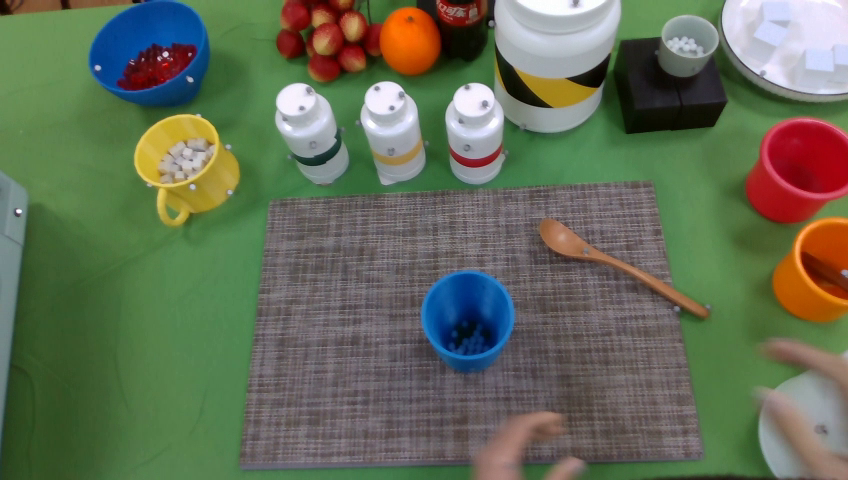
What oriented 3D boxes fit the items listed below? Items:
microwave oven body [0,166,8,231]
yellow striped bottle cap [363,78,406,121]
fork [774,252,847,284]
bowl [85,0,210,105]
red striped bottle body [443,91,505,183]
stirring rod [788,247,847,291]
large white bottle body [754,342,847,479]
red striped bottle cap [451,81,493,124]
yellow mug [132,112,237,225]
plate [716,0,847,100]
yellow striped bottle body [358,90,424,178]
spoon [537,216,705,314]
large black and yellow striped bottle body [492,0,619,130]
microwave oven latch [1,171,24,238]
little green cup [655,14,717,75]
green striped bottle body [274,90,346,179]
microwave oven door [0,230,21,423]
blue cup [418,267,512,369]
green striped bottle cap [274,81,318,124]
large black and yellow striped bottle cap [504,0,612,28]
[{"bbox_3d":[-0.619,0.106,0.554,0.326,0.262,0.438,-11,66,0],"label":"microwave oven body"},{"bbox_3d":[-0.042,-0.148,0.638,0.044,0.019,0.044,-2,67,4],"label":"yellow striped bottle cap"},{"bbox_3d":[0.420,0.042,0.549,0.028,0.019,0.205,-36,23,-15],"label":"fork"},{"bbox_3d":[-0.342,-0.229,0.784,0.151,0.077,0.150,-2,66,4],"label":"bowl"},{"bbox_3d":[0.056,-0.120,0.674,0.063,0.121,0.062,-4,63,8],"label":"red striped bottle body"},{"bbox_3d":[0.392,0.042,0.557,0.014,0.006,0.175,-9,22,1],"label":"stirring rod"},{"bbox_3d":[0.367,0.148,0.486,0.130,0.186,0.129,-2,65,5],"label":"large white bottle body"},{"bbox_3d":[0.050,-0.143,0.626,0.044,0.018,0.044,0,64,1],"label":"red striped bottle cap"},{"bbox_3d":[-0.286,-0.079,0.717,0.100,0.064,0.130,7,67,8],"label":"yellow mug"},{"bbox_3d":[0.462,-0.252,0.740,0.209,0.038,0.207,-2,66,5],"label":"plate"},{"bbox_3d":[-0.037,-0.126,0.685,0.063,0.121,0.062,-2,65,6],"label":"yellow striped bottle body"},{"bbox_3d":[0.206,0.027,0.642,0.193,0.022,0.041,28,46,16],"label":"spoon"},{"bbox_3d":[0.142,-0.226,0.678,0.130,0.185,0.129,-2,65,5],"label":"large black and yellow striped bottle body"},{"bbox_3d":[-0.495,-0.040,0.714,0.030,0.030,0.078,-9,66,1],"label":"microwave oven latch"},{"bbox_3d":[0.293,-0.219,0.685,0.061,0.039,0.061,-1,64,3],"label":"little green cup"},{"bbox_3d":[-0.131,-0.125,0.694,0.063,0.120,0.062,-2,65,5],"label":"green striped bottle body"},{"bbox_3d":[-0.469,0.113,0.531,0.039,0.246,0.352,-11,65,1],"label":"microwave oven door"},{"bbox_3d":[0.040,0.085,0.588,0.092,0.101,0.092,-2,65,4],"label":"blue cup"},{"bbox_3d":[-0.137,-0.147,0.646,0.044,0.020,0.044,-2,64,4],"label":"green striped bottle cap"},{"bbox_3d":[0.134,-0.259,0.601,0.115,0.019,0.114,-2,64,5],"label":"large black and yellow striped bottle cap"}]
